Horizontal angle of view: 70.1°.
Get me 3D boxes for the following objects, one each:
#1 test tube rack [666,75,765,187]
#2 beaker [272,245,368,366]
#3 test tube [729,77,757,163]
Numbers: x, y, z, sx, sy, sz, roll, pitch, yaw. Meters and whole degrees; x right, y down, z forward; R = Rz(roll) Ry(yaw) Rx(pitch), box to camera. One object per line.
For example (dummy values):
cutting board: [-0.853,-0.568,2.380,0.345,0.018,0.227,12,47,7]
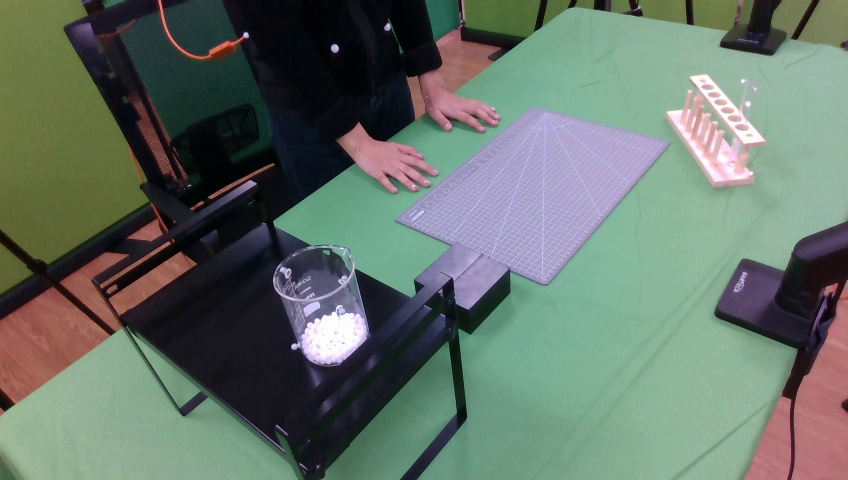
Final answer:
test tube rack: [0.512,-0.201,1.083,0.067,0.085,0.241,-6,41,2]
beaker: [-0.093,0.064,0.578,0.073,0.101,0.084,21,48,29]
test tube: [0.525,-0.195,0.997,0.017,0.151,0.017,-4,36,4]
